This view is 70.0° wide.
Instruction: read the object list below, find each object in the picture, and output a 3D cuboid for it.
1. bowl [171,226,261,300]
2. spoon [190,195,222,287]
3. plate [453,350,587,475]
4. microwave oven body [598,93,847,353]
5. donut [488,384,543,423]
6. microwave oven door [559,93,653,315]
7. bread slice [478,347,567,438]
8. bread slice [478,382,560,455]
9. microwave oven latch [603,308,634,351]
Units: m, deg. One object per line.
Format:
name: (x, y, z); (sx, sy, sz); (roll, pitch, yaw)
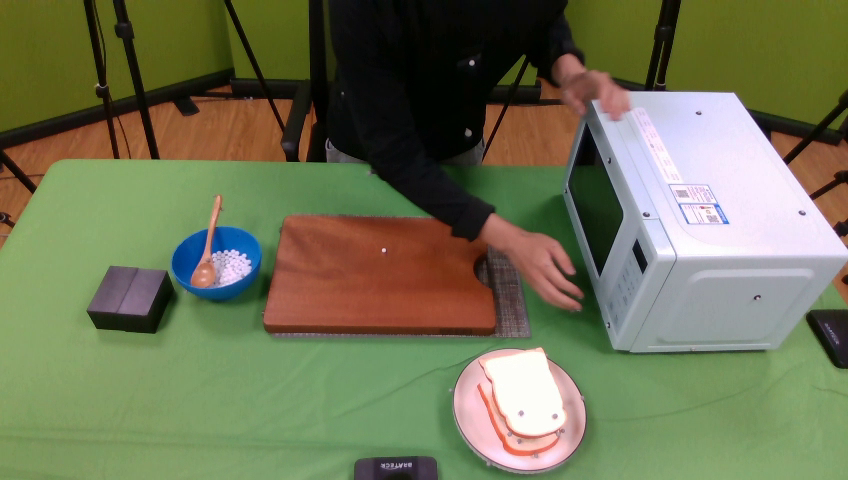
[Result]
bowl: (-0.364, 0.054, 1.080); (0.151, 0.077, 0.150); (3, 45, -3)
spoon: (-0.383, 0.000, 1.088); (0.041, 0.022, 0.193); (1, 66, 3)
plate: (0.147, 0.267, 0.943); (0.208, 0.039, 0.206); (2, 46, -2)
microwave oven body: (0.475, -0.041, 1.109); (0.326, 0.261, 0.438); (-1, 45, -4)
donut: (0.147, 0.242, 0.928); (0.099, 0.048, 0.098); (-3, 41, 3)
microwave oven door: (0.327, -0.074, 1.123); (0.039, 0.245, 0.353); (-1, 46, -5)
bread slice: (0.152, 0.227, 0.901); (0.107, 0.018, 0.133); (-11, 54, -16)
bread slice: (0.154, 0.268, 0.943); (0.105, 0.019, 0.130); (-10, 47, -12)
microwave oven latch: (0.333, 0.153, 1.044); (0.030, 0.029, 0.078); (0, 45, -3)
